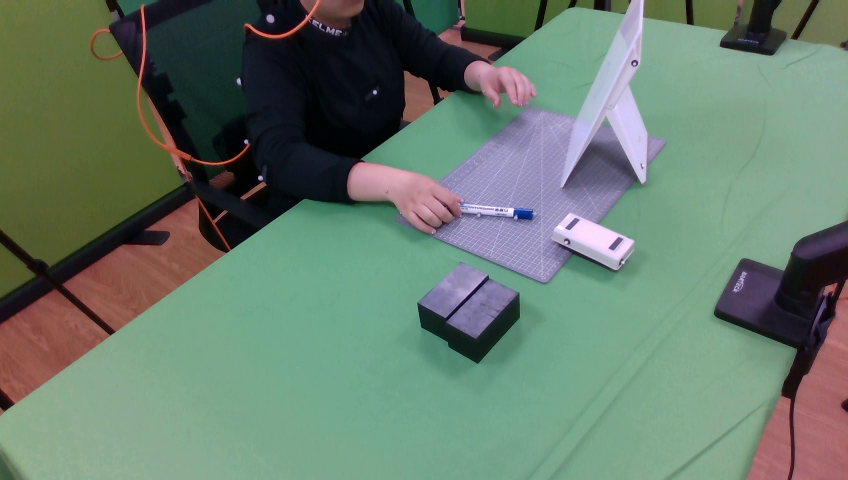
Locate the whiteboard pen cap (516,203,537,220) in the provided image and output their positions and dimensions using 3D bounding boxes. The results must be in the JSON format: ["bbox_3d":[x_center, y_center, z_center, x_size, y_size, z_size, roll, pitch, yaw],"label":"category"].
[{"bbox_3d":[0.170,-0.047,1.003,0.033,0.018,0.018,-27,44,-16],"label":"whiteboard pen cap"}]

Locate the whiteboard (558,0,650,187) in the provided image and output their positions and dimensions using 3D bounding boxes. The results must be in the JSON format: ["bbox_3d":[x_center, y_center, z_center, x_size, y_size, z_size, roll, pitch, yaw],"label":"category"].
[{"bbox_3d":[0.362,-0.238,1.026,0.144,0.306,0.217,21,45,4],"label":"whiteboard"}]

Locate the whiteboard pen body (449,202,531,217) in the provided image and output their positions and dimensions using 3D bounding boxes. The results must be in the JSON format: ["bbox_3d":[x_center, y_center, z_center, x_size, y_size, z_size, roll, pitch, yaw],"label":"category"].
[{"bbox_3d":[0.111,-0.050,1.020,0.140,0.017,0.017,7,43,16],"label":"whiteboard pen body"}]

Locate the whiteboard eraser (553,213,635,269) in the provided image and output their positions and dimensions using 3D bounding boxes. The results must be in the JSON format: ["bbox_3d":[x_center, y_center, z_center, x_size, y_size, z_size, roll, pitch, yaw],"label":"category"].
[{"bbox_3d":[0.257,0.003,0.918,0.112,0.042,0.056,27,49,30],"label":"whiteboard eraser"}]
